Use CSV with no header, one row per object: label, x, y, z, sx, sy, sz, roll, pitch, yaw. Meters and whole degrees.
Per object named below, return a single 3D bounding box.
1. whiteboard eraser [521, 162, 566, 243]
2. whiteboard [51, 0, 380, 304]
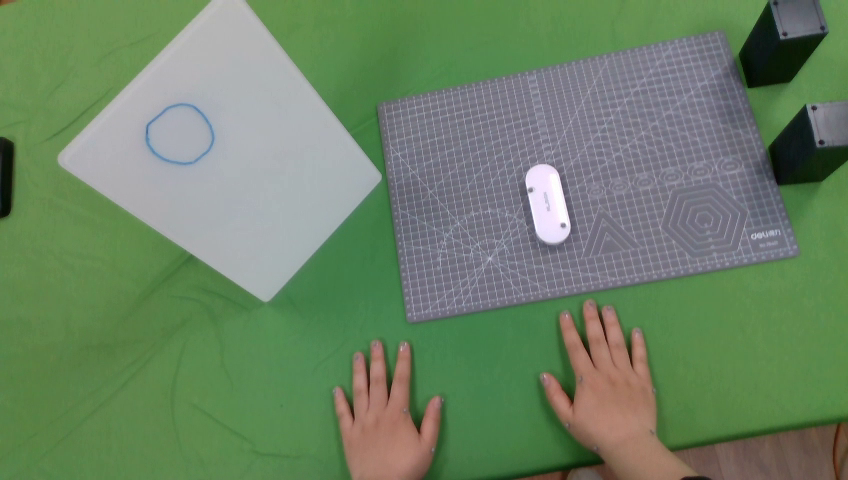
whiteboard eraser,0.142,-0.046,0.724,0.041,0.019,0.100,-11,74,4
whiteboard,-0.228,-0.105,0.681,0.217,0.309,0.142,-48,53,-7
